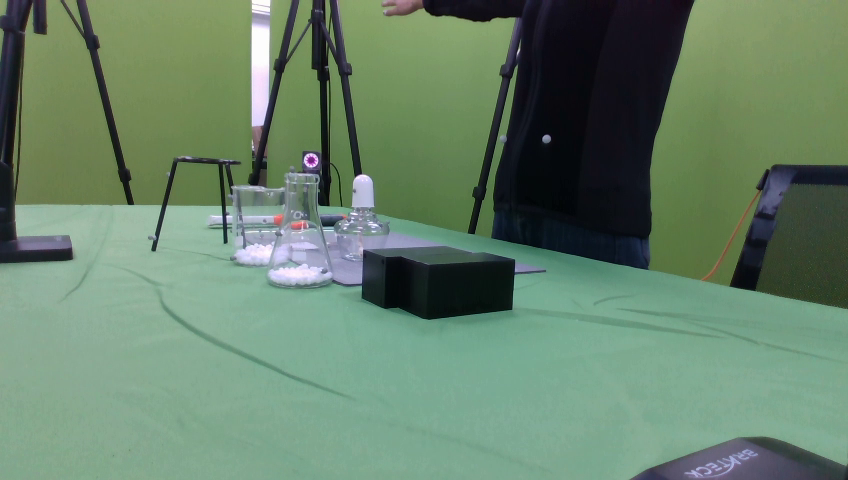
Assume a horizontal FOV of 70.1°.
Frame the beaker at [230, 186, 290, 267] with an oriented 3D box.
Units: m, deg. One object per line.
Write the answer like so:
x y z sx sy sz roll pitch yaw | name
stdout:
-0.209 -0.019 0.778 0.074 0.100 0.084 3 7 4 | beaker

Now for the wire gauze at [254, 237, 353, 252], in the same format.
-0.188 0.004 0.940 0.122 0.011 0.124 -2 6 -34 | wire gauze

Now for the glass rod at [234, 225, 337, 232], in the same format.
-0.256 -0.022 1.136 0.201 0.008 0.008 -3 8 -33 | glass rod

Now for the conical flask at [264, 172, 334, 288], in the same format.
-0.136 -0.013 0.660 0.075 0.122 0.075 2 7 0 | conical flask

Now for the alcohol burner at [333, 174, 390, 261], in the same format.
-0.085 -0.031 0.832 0.078 0.119 0.078 3 6 0 | alcohol burner

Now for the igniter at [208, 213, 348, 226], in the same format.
-0.283 -0.041 1.200 0.278 0.025 0.057 -2 -2 -34 | igniter

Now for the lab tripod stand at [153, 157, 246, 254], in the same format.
-0.305 -0.051 0.865 0.148 0.131 0.148 4 7 0 | lab tripod stand

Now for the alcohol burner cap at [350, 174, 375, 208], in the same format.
-0.085 -0.067 0.829 0.034 0.048 0.034 0 2 0 | alcohol burner cap
